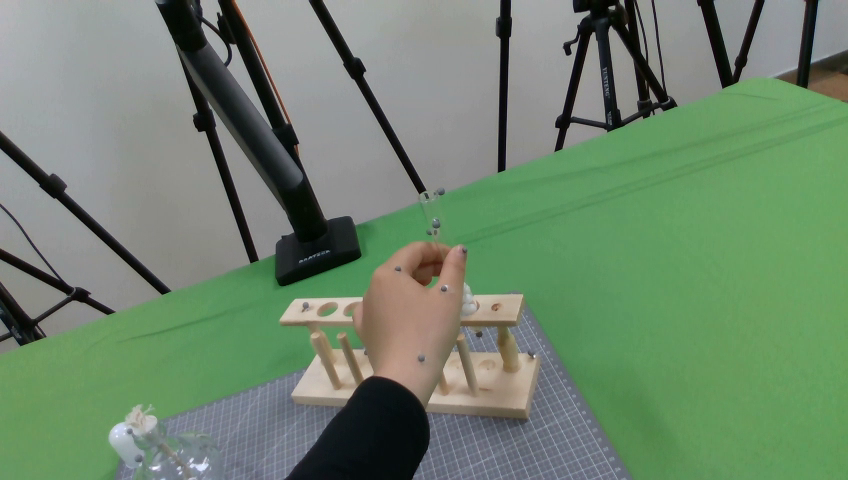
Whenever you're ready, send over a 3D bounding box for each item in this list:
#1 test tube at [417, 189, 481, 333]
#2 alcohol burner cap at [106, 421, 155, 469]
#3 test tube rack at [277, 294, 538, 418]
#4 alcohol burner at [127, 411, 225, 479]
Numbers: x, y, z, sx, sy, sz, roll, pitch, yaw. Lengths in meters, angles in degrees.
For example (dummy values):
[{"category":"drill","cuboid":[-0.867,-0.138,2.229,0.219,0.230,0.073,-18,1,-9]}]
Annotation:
[{"category":"test tube","cuboid":[0.023,0.023,0.500,0.017,0.152,0.017,-14,35,10]},{"category":"alcohol burner cap","cuboid":[-0.296,0.202,0.607,0.034,0.048,0.033,-12,32,8]},{"category":"test tube rack","cuboid":[-0.024,0.107,0.569,0.241,0.086,0.066,-4,34,24]},{"category":"alcohol burner","cuboid":[-0.221,0.187,0.520,0.078,0.120,0.077,-12,32,8]}]
